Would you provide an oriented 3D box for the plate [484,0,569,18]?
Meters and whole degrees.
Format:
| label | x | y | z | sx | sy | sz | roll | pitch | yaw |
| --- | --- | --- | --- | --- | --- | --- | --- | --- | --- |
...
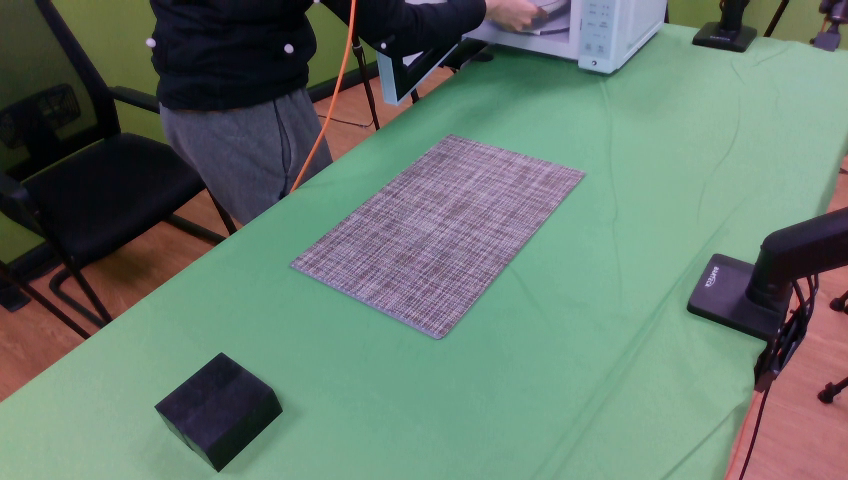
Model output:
| label | x | y | z | sx | sy | sz | roll | pitch | yaw |
| --- | --- | --- | --- | --- | --- | --- | --- | --- | --- |
| plate | 0.249 | -0.576 | 1.443 | 0.209 | 0.038 | 0.208 | -5 | 40 | 5 |

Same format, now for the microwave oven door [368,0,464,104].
| label | x | y | z | sx | sy | sz | roll | pitch | yaw |
| --- | --- | --- | --- | --- | --- | --- | --- | --- | --- |
| microwave oven door | -0.006 | -0.497 | 1.347 | 0.039 | 0.245 | 0.356 | 14 | 46 | 23 |

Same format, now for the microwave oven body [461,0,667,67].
| label | x | y | z | sx | sy | sz | roll | pitch | yaw |
| --- | --- | --- | --- | --- | --- | --- | --- | --- | --- |
| microwave oven body | 0.325 | -0.609 | 1.437 | 0.438 | 0.261 | 0.327 | 23 | 50 | 30 |

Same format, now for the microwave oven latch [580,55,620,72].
| label | x | y | z | sx | sy | sz | roll | pitch | yaw |
| --- | --- | --- | --- | --- | --- | --- | --- | --- | --- |
| microwave oven latch | 0.386 | -0.393 | 1.330 | 0.078 | 0.029 | 0.030 | 24 | 51 | 32 |
